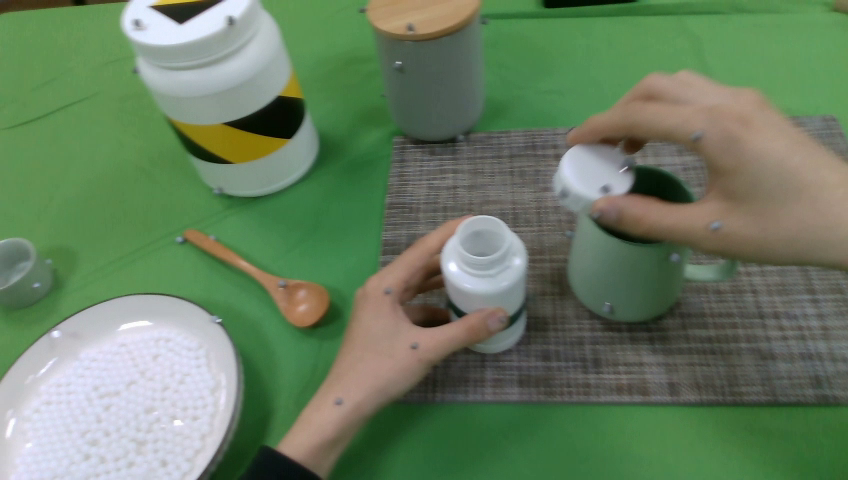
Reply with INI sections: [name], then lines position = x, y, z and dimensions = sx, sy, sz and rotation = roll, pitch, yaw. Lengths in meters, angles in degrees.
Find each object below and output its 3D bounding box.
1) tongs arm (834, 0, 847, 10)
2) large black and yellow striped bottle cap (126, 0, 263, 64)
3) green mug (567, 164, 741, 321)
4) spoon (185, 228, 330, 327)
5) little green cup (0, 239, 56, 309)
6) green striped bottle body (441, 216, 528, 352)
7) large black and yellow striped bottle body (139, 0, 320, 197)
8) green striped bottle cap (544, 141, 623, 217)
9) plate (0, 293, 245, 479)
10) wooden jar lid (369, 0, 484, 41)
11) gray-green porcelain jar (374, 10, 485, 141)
[tongs arm]
position = 0.612, -0.205, 0.590
dimensions = 0.383, 0.028, 0.028
rotation = 30, 57, 36
[large black and yellow striped bottle cap]
position = -0.197, -0.193, 0.521
dimensions = 0.115, 0.019, 0.114
rotation = -3, 52, 4
[green mug]
position = 0.179, 0.006, 0.474
dimensions = 0.125, 0.106, 0.092
rotation = 7, 54, 12
[spoon]
position = -0.159, 0.027, 0.560
dimensions = 0.192, 0.022, 0.041
rotation = 27, 80, 24
[little green cup]
position = -0.387, 0.034, 0.575
dimensions = 0.061, 0.039, 0.061
rotation = -3, 53, 4
[green striped bottle body]
position = 0.047, 0.033, 0.462
dimensions = 0.063, 0.120, 0.062
rotation = -4, 53, 6
[large black and yellow striped bottle body]
position = -0.186, -0.145, 0.589
dimensions = 0.130, 0.186, 0.129
rotation = -4, 54, 5
[green striped bottle cap]
position = 0.096, -0.037, 0.365
dimensions = 0.044, 0.020, 0.044
rotation = 3, 65, -5
[plate]
position = -0.240, 0.138, 0.479
dimensions = 0.209, 0.038, 0.207
rotation = -3, 53, 5
[wooden jar lid]
position = 0.003, -0.216, 0.571
dimensions = 0.108, 0.021, 0.107
rotation = -6, 52, 7
[gray-green porcelain jar]
position = 0.010, -0.175, 0.619
dimensions = 0.106, 0.128, 0.105
rotation = -3, 50, 4
